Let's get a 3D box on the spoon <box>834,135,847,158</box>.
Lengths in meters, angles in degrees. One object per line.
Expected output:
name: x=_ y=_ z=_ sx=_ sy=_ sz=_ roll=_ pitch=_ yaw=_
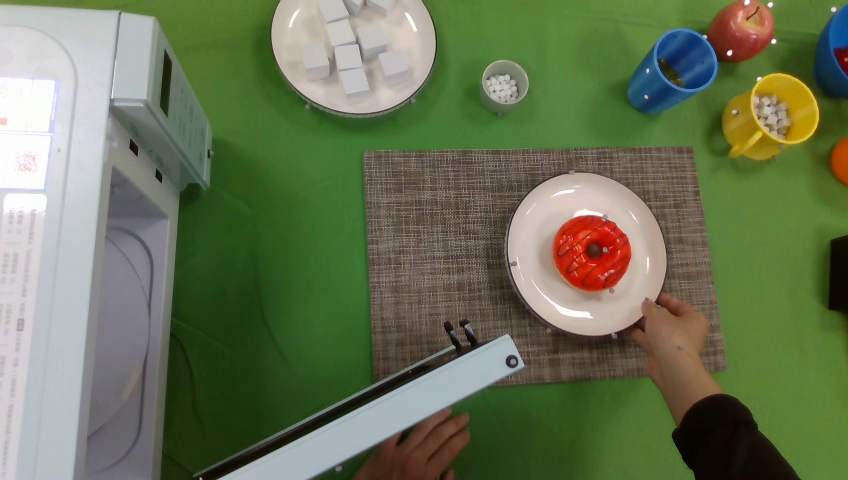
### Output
spoon: x=0.644 y=-0.103 z=0.793 sx=0.041 sy=0.191 sz=0.022 roll=-45 pitch=131 yaw=-13

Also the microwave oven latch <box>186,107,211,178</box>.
microwave oven latch: x=-0.264 y=-0.113 z=0.702 sx=0.030 sy=0.029 sz=0.079 roll=3 pitch=79 yaw=-8

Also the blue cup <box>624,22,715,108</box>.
blue cup: x=0.312 y=-0.219 z=0.792 sx=0.093 sy=0.100 sz=0.092 roll=1 pitch=80 yaw=-8

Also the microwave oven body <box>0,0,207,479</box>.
microwave oven body: x=-0.396 y=0.039 z=0.554 sx=0.327 sy=0.260 sz=0.440 roll=1 pitch=79 yaw=-8

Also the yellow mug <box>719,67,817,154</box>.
yellow mug: x=0.455 y=-0.164 z=0.819 sx=0.100 sy=0.064 sz=0.130 roll=45 pitch=78 yaw=2

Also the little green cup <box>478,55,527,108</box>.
little green cup: x=0.100 y=-0.205 z=0.791 sx=0.062 sy=0.039 sz=0.061 roll=2 pitch=78 yaw=-7

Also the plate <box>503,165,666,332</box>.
plate: x=0.198 y=0.011 z=0.759 sx=0.209 sy=0.038 sz=0.208 roll=2 pitch=79 yaw=-7

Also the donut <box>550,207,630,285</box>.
donut: x=0.204 y=0.008 z=0.749 sx=0.099 sy=0.048 sz=0.098 roll=1 pitch=79 yaw=-6

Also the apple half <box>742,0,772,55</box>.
apple half: x=0.457 y=-0.294 z=0.840 sx=0.033 sy=0.081 sz=0.081 roll=3 pitch=78 yaw=-4

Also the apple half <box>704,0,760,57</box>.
apple half: x=0.418 y=-0.296 z=0.837 sx=0.053 sy=0.075 sz=0.080 roll=3 pitch=81 yaw=-4

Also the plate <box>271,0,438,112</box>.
plate: x=-0.087 y=-0.257 z=0.775 sx=0.208 sy=0.039 sz=0.206 roll=2 pitch=79 yaw=-8

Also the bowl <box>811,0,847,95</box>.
bowl: x=0.608 y=-0.261 z=0.854 sx=0.152 sy=0.077 sz=0.150 roll=1 pitch=80 yaw=-7

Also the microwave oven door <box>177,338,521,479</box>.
microwave oven door: x=-0.098 y=0.180 z=0.565 sx=0.356 sy=0.244 sz=0.039 roll=-25 pitch=82 yaw=-12
